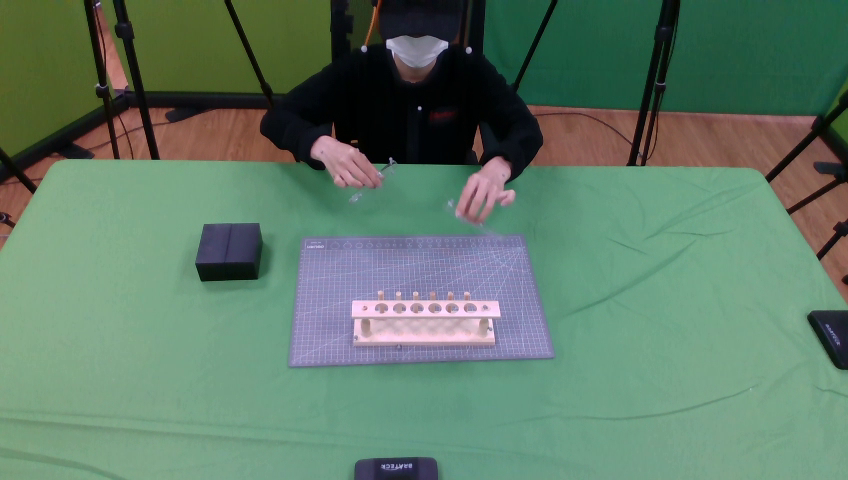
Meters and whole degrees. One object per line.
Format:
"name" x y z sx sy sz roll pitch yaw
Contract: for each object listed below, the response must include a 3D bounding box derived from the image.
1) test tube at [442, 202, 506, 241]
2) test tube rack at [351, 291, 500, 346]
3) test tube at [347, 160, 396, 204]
"test tube" 0.091 -0.031 1.069 0.151 0.017 0.017 27 36 -33
"test tube rack" 0.000 0.129 1.026 0.242 0.085 0.066 1 46 -4
"test tube" -0.102 -0.108 1.153 0.017 0.150 0.017 24 50 -32
